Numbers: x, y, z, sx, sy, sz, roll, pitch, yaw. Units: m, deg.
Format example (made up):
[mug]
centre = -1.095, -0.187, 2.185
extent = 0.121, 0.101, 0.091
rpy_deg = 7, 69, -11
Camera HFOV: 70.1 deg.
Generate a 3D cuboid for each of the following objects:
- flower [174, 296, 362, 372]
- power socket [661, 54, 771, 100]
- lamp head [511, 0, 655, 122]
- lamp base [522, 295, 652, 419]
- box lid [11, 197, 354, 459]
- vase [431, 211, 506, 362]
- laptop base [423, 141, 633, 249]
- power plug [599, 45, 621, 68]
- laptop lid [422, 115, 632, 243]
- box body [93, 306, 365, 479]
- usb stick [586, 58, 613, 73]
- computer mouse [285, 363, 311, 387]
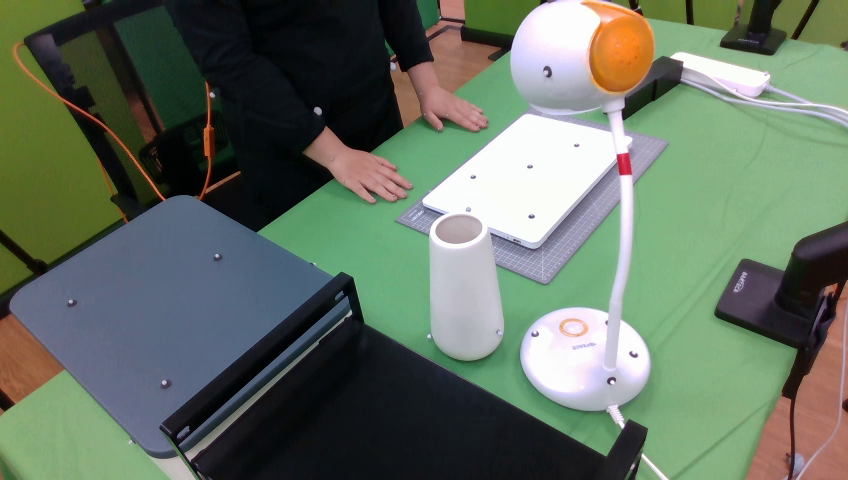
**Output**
[flower]
centre = -0.233, 0.115, 0.832
extent = 0.359, 0.044, 0.038
rpy_deg = 10, -2, 33
[power socket]
centre = 0.615, -0.348, 1.285
extent = 0.072, 0.033, 0.225
rpy_deg = -37, 48, -28
[lamp head]
centre = 0.155, -0.168, 0.564
extent = 0.113, 0.113, 0.122
rpy_deg = -18, 23, -12
[lamp base]
centre = 0.201, 0.095, 0.710
extent = 0.161, 0.181, 0.177
rpy_deg = -16, 43, -10
[box lid]
centre = -0.288, 0.072, 0.710
extent = 0.368, 0.015, 0.264
rpy_deg = 25, 50, 32
[vase]
centre = 0.054, 0.062, 0.757
extent = 0.098, 0.201, 0.097
rpy_deg = -3, 40, 3
[laptop base]
centre = 0.194, -0.117, 1.087
extent = 0.233, 0.023, 0.355
rpy_deg = 21, 47, 34
[power plug]
centre = 0.436, -0.422, 1.413
extent = 0.053, 0.035, 0.072
rpy_deg = -18, 75, -47
[laptop lid]
centre = 0.190, -0.126, 1.081
extent = 0.239, 0.013, 0.358
rpy_deg = 23, 48, 34
[box body]
centre = -0.282, 0.128, 0.759
extent = 0.361, 0.161, 0.255
rpy_deg = 24, 49, 32
[usb stick]
centre = 0.401, -0.399, 1.381
extent = 0.059, 0.027, 0.021
rpy_deg = 0, 48, 21
[computer mouse]
centre = -0.161, 0.158, 0.791
extent = 0.116, 0.041, 0.063
rpy_deg = 26, 45, 23
